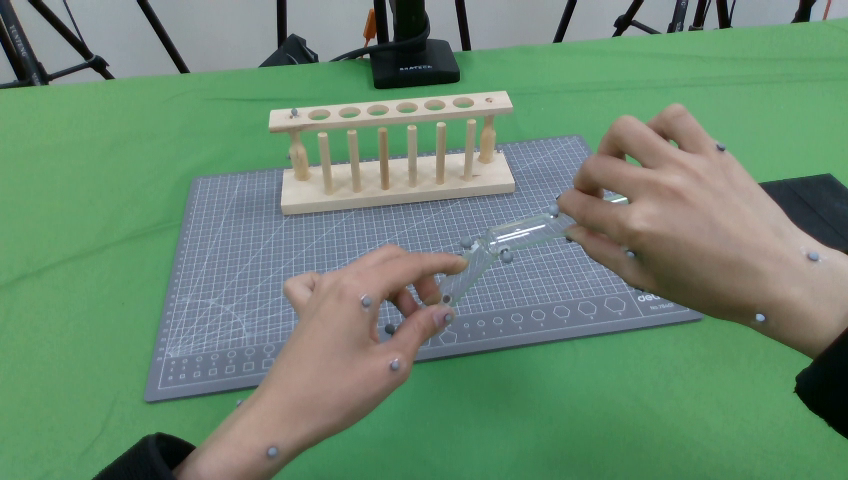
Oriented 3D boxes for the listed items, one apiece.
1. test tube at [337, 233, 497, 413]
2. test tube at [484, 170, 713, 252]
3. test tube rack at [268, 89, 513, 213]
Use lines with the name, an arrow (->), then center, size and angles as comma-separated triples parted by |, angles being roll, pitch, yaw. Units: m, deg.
test tube -> -0.008, 0.054, 0.363 | 0.017, 0.151, 0.017 | 33, 22, -15
test tube -> 0.105, -0.019, 0.353 | 0.150, 0.017, 0.017 | -15, 43, -15
test tube rack -> -0.031, -0.093, 0.625 | 0.243, 0.086, 0.066 | -6, 42, -5
